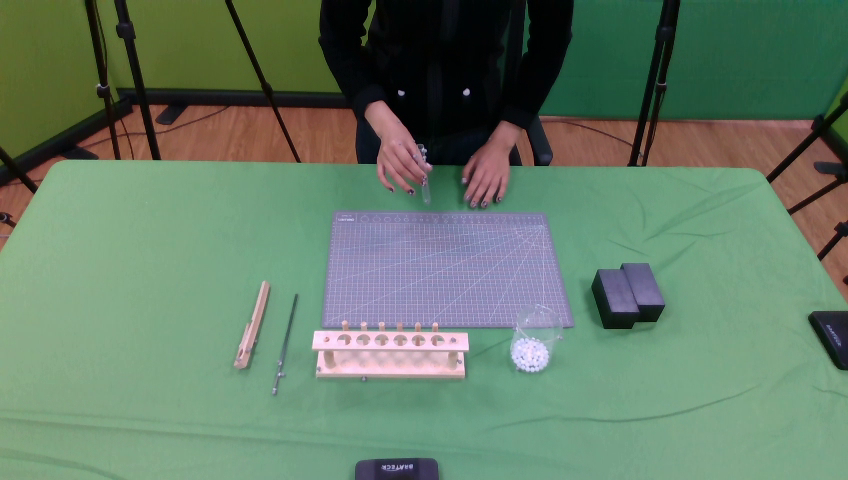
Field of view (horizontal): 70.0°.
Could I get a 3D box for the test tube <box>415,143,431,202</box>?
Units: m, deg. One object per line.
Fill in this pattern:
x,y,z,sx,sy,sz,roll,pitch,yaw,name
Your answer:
-0.001,-0.125,1.152,0.017,0.151,0.017,-3,51,5,test tube

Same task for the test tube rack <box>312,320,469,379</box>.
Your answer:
-0.053,0.173,0.984,0.242,0.085,0.066,1,46,-3,test tube rack

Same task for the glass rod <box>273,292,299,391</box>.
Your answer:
-0.233,0.167,1.030,0.008,0.008,0.198,3,46,0,glass rod

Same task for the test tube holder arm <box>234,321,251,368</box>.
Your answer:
-0.299,0.173,1.013,0.010,0.015,0.087,-16,42,22,test tube holder arm

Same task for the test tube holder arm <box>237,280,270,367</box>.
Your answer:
-0.290,0.139,1.042,0.013,0.015,0.177,-17,42,22,test tube holder arm

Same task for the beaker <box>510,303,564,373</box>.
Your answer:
0.182,0.164,1.000,0.074,0.101,0.083,2,45,-1,beaker
